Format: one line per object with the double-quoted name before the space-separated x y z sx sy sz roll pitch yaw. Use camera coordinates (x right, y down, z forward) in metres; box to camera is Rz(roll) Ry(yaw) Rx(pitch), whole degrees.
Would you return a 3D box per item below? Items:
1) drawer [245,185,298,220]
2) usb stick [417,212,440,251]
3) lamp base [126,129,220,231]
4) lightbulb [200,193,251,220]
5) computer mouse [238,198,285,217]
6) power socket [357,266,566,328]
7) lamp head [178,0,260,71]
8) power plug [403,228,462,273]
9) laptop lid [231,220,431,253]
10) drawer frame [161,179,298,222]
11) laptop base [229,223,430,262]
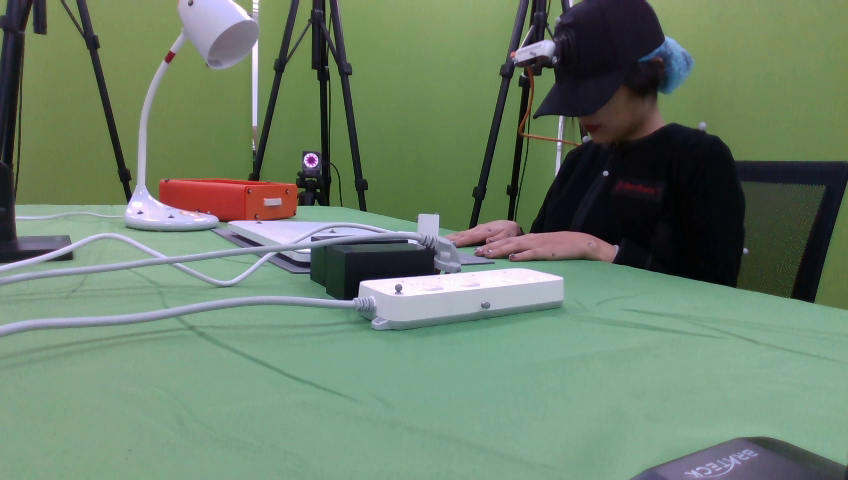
"drawer" -0.416 -0.087 1.329 0.211 0.073 0.195 4 8 18
"usb stick" 0.005 -0.003 0.721 0.027 0.059 0.021 0 -3 -3
"lamp base" -0.470 -0.111 1.105 0.179 0.180 0.160 1 7 6
"lightbulb" -0.433 -0.079 1.319 0.108 0.059 0.059 -17 13 -16
"computer mouse" -0.354 -0.072 1.326 0.063 0.041 0.117 3 2 12
"power socket" 0.042 0.049 0.573 0.228 0.032 0.072 -3 8 -34
"lamp head" -0.365 -0.368 1.038 0.123 0.112 0.112 42 14 6
"power plug" 0.006 0.016 0.647 0.073 0.052 0.035 17 12 -6
"laptop lid" -0.142 -0.009 0.942 0.243 0.013 0.355 1 7 -31
"drawer frame" -0.420 -0.089 1.328 0.213 0.082 0.202 4 8 18
"laptop base" -0.145 0.002 0.943 0.237 0.023 0.352 2 6 -32
